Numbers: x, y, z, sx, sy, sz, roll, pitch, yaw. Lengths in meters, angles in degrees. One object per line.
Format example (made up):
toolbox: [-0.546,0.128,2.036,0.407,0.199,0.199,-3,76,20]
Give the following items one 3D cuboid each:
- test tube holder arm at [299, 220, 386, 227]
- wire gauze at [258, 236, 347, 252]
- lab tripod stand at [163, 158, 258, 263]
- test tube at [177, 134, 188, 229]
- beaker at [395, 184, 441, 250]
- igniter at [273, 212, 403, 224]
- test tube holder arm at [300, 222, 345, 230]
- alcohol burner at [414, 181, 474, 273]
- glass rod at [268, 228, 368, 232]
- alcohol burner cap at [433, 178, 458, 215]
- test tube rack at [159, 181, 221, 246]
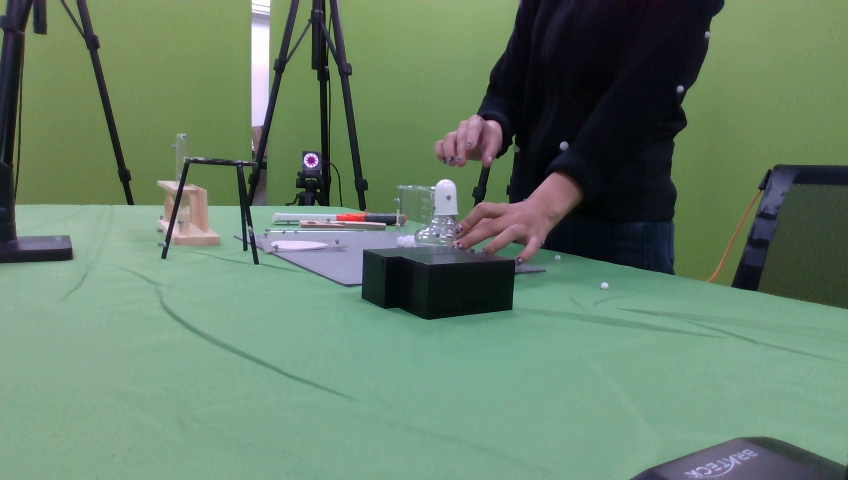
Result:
test tube holder arm: [-0.158,-0.032,1.195,0.179,0.015,0.013,-1,43,-29]
wire gauze: [-0.189,0.005,0.931,0.122,0.011,0.124,1,7,-21]
lab tripod stand: [-0.265,-0.041,0.802,0.148,0.131,0.148,4,7,0]
test tube: [-0.374,-0.089,0.938,0.017,0.150,0.017,1,4,0]
beaker: [-0.007,-0.037,0.965,0.074,0.100,0.083,-4,10,-40]
igniter: [-0.179,-0.048,1.290,0.278,0.025,0.057,-1,-2,-24]
test tube holder arm: [-0.196,-0.027,1.170,0.088,0.015,0.010,-1,43,-28]
alcohol burner: [0.026,-0.019,0.770,0.078,0.119,0.078,3,9,0]
glass rod: [-0.193,-0.018,1.128,0.201,0.008,0.008,0,7,-35]
alcohol burner cap: [0.026,-0.054,0.765,0.034,0.048,0.034,-3,6,1]
test tube rack: [-0.395,-0.050,1.010,0.067,0.085,0.241,-2,8,-28]
